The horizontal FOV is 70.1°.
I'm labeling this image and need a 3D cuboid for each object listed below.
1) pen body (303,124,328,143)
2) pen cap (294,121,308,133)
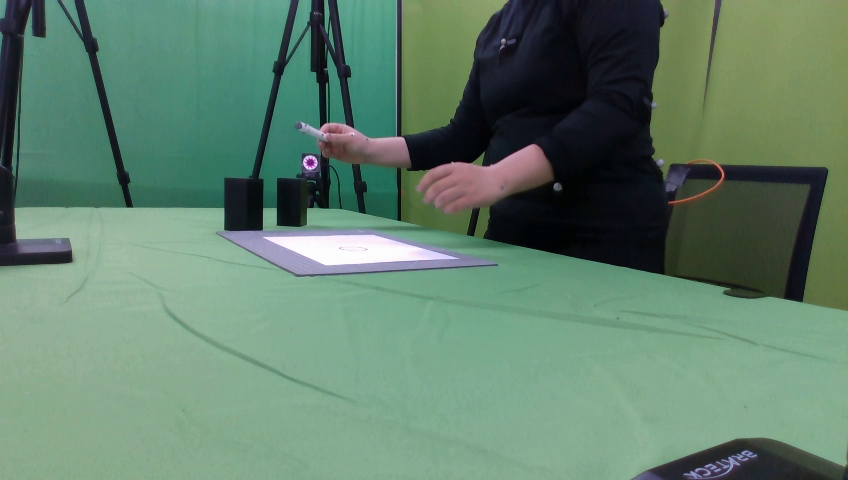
[{"bbox_3d":[-0.221,-0.216,1.217,0.017,0.017,0.144,4,-2,9],"label":"pen body"},{"bbox_3d":[-0.236,-0.216,1.154,0.017,0.017,0.038,4,-1,11],"label":"pen cap"}]
